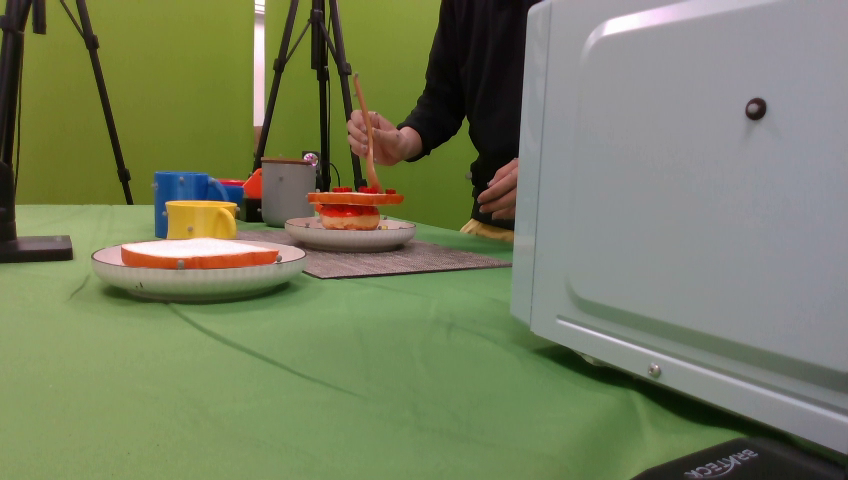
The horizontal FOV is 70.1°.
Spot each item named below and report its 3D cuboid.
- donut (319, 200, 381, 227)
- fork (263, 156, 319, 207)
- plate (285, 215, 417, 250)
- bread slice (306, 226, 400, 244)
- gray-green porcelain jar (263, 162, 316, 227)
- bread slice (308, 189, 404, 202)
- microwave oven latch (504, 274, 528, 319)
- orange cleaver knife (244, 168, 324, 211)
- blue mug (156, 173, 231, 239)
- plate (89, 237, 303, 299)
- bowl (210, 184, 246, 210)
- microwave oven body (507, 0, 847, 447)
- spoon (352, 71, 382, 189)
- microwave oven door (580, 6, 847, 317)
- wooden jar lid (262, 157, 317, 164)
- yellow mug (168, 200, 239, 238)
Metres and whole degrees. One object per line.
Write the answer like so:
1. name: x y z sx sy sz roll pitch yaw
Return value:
1. donut: -0.118 -0.042 0.965 0.099 0.048 0.099 -9 -7 -1
2. fork: -0.331 -0.144 1.505 0.207 0.018 0.028 -42 -20 22
3. plate: -0.116 -0.014 0.964 0.209 0.038 0.209 2 7 0
4. bread slice: -0.104 -0.009 0.961 0.131 0.019 0.105 1 8 24
5. gray-green porcelain jar: -0.271 -0.092 1.217 0.106 0.126 0.106 2 7 0
6. bread slice: -0.113 -0.071 0.949 0.134 0.018 0.107 0 3 21
7. microwave oven latch: 0.100 0.041 0.471 0.079 0.029 0.030 -1 7 -28
8. orange cleaver knife: -0.300 -0.089 1.351 0.212 0.077 0.012 28 -9 -34
9. blue mug: -0.381 -0.057 1.004 0.117 0.106 0.082 1 8 -12
10. plate: -0.233 0.029 0.637 0.208 0.039 0.207 2 7 0
11. bowl: -0.422 -0.067 1.166 0.151 0.077 0.151 2 7 0
12. microwave oven body: 0.331 -0.042 0.425 0.444 0.260 0.324 -2 8 -31
13. spoon: -0.090 -0.170 0.951 0.022 0.193 0.041 -8 -2 -12
14. microwave oven door: 0.295 -0.067 0.570 0.358 0.243 0.039 -3 9 -31
15. wooden jar lid: -0.269 -0.154 1.208 0.108 0.020 0.108 3 4 0
16. yellow mug: -0.320 -0.023 0.904 0.130 0.064 0.100 9 11 36
